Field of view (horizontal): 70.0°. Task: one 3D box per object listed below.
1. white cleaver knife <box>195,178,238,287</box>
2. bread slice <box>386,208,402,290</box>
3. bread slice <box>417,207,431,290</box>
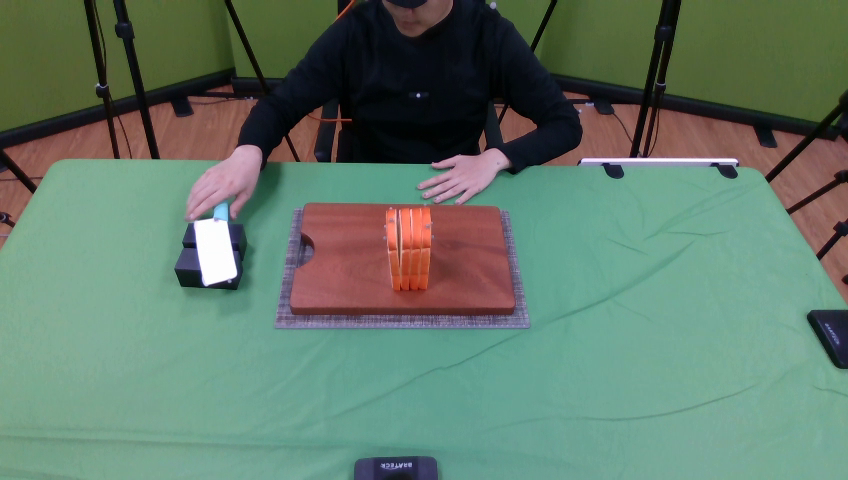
[{"bbox_3d":[-0.394,-0.024,1.132,0.066,0.021,0.284,-12,46,-14],"label":"white cleaver knife"},{"bbox_3d":[-0.054,0.009,1.069,0.019,0.132,0.104,-5,46,0],"label":"bread slice"},{"bbox_3d":[0.000,0.009,1.071,0.018,0.135,0.106,0,49,-4],"label":"bread slice"}]
